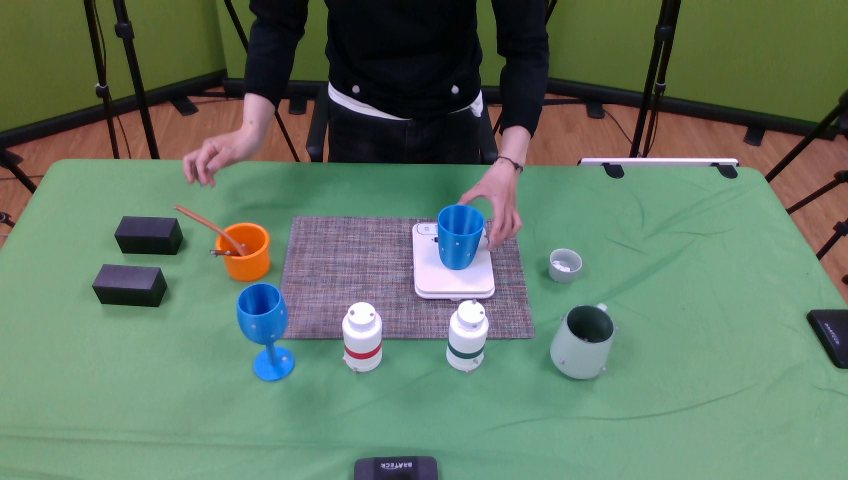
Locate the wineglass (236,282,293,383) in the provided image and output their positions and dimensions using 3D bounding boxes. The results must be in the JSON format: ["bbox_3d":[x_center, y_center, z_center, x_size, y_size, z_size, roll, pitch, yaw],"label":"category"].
[{"bbox_3d":[-0.243,0.143,0.934,0.074,0.173,0.073,2,46,-2],"label":"wineglass"}]

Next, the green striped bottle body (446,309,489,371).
[{"bbox_3d":[0.070,0.155,0.984,0.063,0.120,0.063,2,46,-2],"label":"green striped bottle body"}]

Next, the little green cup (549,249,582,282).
[{"bbox_3d":[0.268,0.050,1.156,0.061,0.039,0.061,1,44,-1],"label":"little green cup"}]

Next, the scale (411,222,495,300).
[{"bbox_3d":[0.052,0.031,1.158,0.149,0.032,0.199,1,46,-4],"label":"scale"}]

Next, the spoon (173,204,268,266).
[{"bbox_3d":[-0.363,-0.009,1.089,0.021,0.195,0.041,-40,29,14],"label":"spoon"}]

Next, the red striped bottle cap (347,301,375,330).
[{"bbox_3d":[-0.097,0.116,0.934,0.044,0.018,0.044,2,49,-2],"label":"red striped bottle cap"}]

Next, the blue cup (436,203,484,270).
[{"bbox_3d":[0.061,-0.001,1.099,0.093,0.101,0.092,3,44,-2],"label":"blue cup"}]

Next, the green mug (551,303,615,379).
[{"bbox_3d":[0.271,0.157,1.007,0.092,0.105,0.125,27,50,21],"label":"green mug"}]

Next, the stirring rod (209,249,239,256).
[{"bbox_3d":[-0.343,0.022,1.060,0.014,0.176,0.006,22,87,-2],"label":"stirring rod"}]

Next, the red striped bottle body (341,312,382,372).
[{"bbox_3d":[-0.100,0.154,0.972,0.063,0.120,0.062,2,46,-1],"label":"red striped bottle body"}]

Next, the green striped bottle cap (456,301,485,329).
[{"bbox_3d":[0.073,0.116,0.943,0.044,0.020,0.044,3,46,-3],"label":"green striped bottle cap"}]
